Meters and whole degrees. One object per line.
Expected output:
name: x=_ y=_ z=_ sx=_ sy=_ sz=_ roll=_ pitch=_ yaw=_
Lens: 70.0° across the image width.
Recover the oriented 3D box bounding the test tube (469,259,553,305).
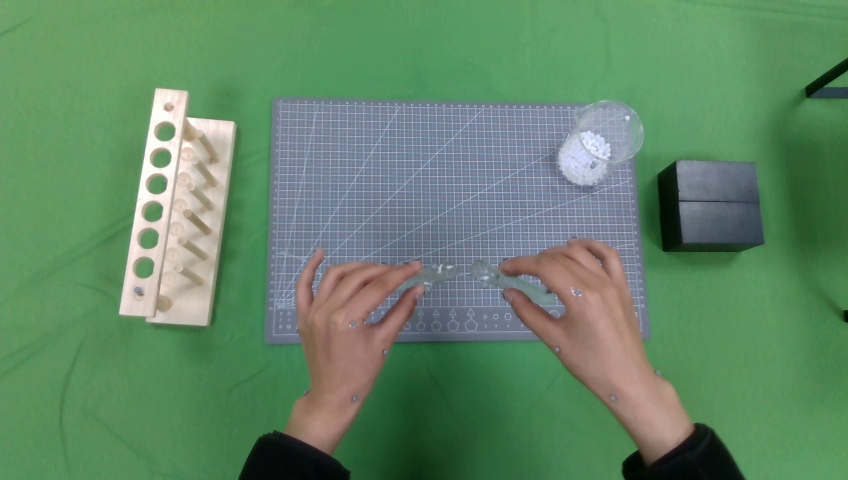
test tube: x=0.081 y=0.040 z=0.535 sx=0.017 sy=0.152 sz=0.017 roll=-10 pitch=71 yaw=32

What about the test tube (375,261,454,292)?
test tube: x=-0.013 y=0.036 z=0.560 sx=0.017 sy=0.150 sz=0.017 roll=5 pitch=79 yaw=-25

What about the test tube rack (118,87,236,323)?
test tube rack: x=-0.265 y=-0.035 z=0.665 sx=0.067 sy=0.085 sz=0.241 roll=5 pitch=78 yaw=-4

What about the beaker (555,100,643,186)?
beaker: x=0.198 y=-0.111 z=0.712 sx=0.084 sy=0.100 sz=0.074 roll=31 pitch=77 yaw=4
